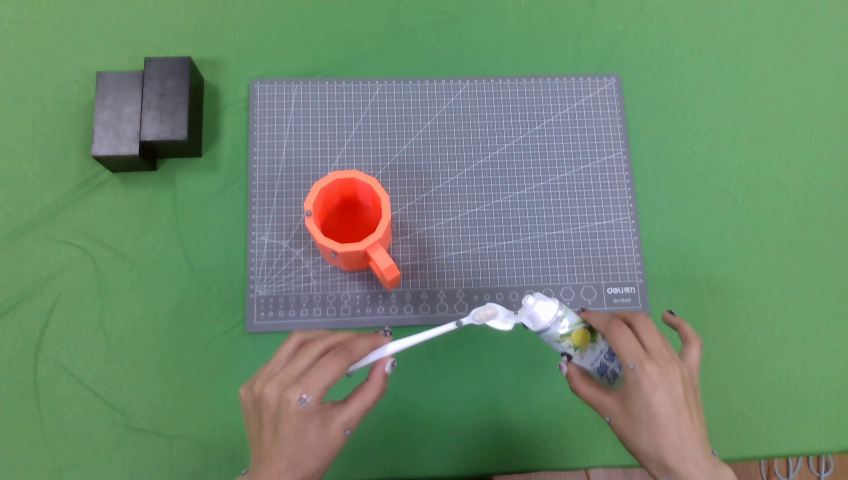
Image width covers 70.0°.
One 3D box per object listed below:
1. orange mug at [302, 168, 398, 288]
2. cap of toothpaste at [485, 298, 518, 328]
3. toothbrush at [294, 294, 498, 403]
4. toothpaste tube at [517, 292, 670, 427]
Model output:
[{"bbox_3d":[-0.069,-0.006,0.639,0.083,0.101,0.125,-36,77,-10],"label":"orange mug"},{"bbox_3d":[0.065,0.062,0.524,0.037,0.037,0.011,22,114,2],"label":"cap of toothpaste"},{"bbox_3d":[-0.025,0.088,0.482,0.182,0.014,0.016,-27,70,7],"label":"toothbrush"},{"bbox_3d":[0.146,0.101,0.534,0.166,0.034,0.055,38,89,-12],"label":"toothpaste tube"}]
